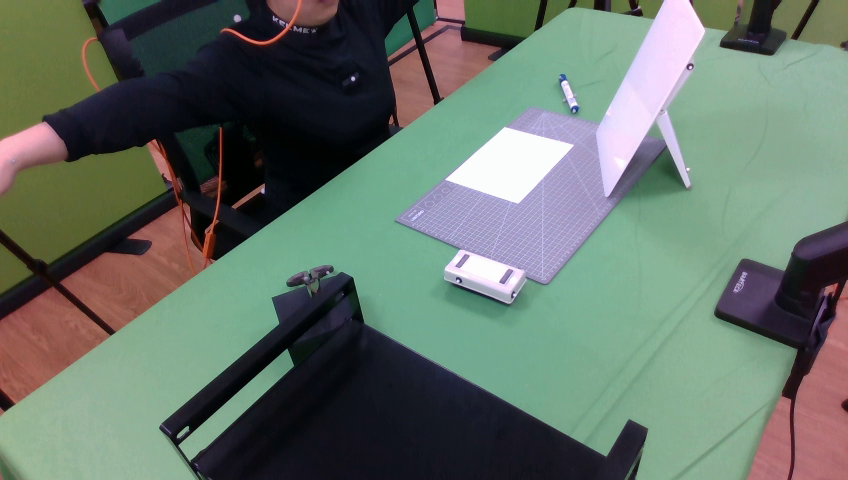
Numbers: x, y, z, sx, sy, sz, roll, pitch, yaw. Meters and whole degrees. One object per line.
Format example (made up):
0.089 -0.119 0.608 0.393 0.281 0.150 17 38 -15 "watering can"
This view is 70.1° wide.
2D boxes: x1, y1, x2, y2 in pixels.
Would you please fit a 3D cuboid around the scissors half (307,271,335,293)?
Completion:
-0.152 0.061 0.872 0.040 0.013 0.175 -4 6 -4 "scissors half"

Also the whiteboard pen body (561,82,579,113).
0.310 -0.311 1.297 0.017 0.017 0.140 -6 41 2 "whiteboard pen body"

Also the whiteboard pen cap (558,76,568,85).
0.309 -0.350 1.340 0.018 0.018 0.033 -6 41 2 "whiteboard pen cap"

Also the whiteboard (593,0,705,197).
0.421 -0.227 1.009 0.144 0.305 0.216 17 41 -3 "whiteboard"

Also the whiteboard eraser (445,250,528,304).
0.090 0.056 0.882 0.112 0.042 0.056 18 44 27 "whiteboard eraser"

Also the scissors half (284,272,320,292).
-0.172 0.063 0.868 0.040 0.013 0.174 -11 7 -22 "scissors half"
